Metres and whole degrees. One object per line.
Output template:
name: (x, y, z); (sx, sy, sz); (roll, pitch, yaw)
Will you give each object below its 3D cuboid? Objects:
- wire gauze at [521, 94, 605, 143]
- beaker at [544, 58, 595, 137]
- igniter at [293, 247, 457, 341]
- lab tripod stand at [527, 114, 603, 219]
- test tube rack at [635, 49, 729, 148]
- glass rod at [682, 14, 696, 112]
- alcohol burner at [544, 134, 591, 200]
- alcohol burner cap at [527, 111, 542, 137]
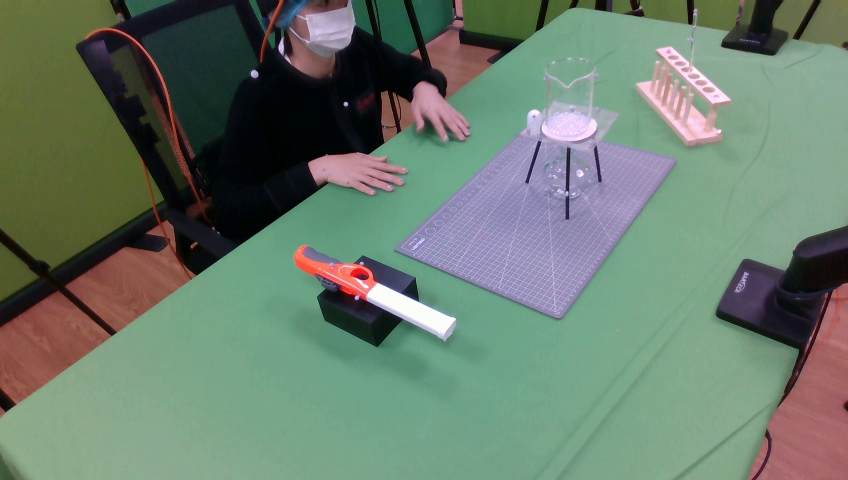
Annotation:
wire gauze: (0.219, -0.190, 0.949); (0.121, 0.011, 0.125); (7, 46, 14)
beaker: (0.221, -0.214, 0.927); (0.074, 0.101, 0.084); (3, 41, 16)
igniter: (-0.078, 0.068, 0.830); (0.274, 0.025, 0.057); (22, 48, 27)
lab tripod stand: (0.234, -0.129, 1.002); (0.148, 0.132, 0.147); (-6, 40, 6)
test tube rack: (0.497, -0.283, 1.185); (0.067, 0.085, 0.240); (-10, 40, -2)
glass rod: (0.495, -0.326, 1.132); (0.008, 0.201, 0.008); (-8, 42, 8)
alcohol burner: (0.241, -0.127, 1.014); (0.078, 0.119, 0.077); (-5, 42, 5)
alcohol burner cap: (0.221, -0.233, 1.200); (0.034, 0.048, 0.033); (-6, 41, 6)
